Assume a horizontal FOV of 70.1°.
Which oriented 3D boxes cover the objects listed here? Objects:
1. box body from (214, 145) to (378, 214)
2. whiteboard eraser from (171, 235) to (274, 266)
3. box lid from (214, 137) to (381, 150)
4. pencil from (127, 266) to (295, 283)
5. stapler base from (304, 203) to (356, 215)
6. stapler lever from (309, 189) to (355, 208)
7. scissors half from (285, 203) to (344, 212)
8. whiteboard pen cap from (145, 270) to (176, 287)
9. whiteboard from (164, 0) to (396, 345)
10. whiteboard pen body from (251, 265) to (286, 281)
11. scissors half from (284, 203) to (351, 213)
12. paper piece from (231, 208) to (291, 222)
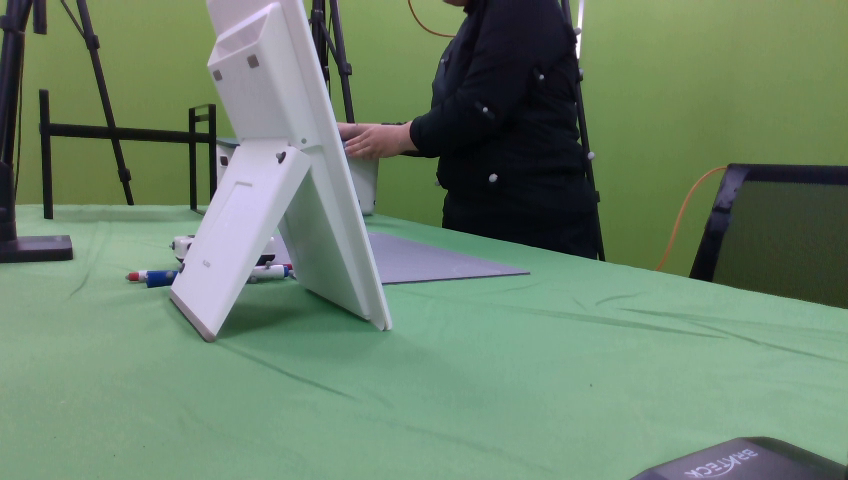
[{"bbox_3d":[-0.328,-0.154,1.543,0.366,0.160,0.253,-2,9,-32],"label":"box body"},{"bbox_3d":[-0.248,0.014,0.747,0.113,0.042,0.055,-1,9,-32],"label":"whiteboard eraser"},{"bbox_3d":[-0.321,-0.241,1.518,0.373,0.015,0.262,-4,13,-28],"label":"box lid"},{"bbox_3d":[-0.231,0.037,0.691,0.195,0.012,0.012,-2,9,-34],"label":"pencil"},{"bbox_3d":[-0.234,-0.081,1.511,0.131,0.024,0.041,5,16,-35],"label":"stapler base"},{"bbox_3d":[-0.228,-0.104,1.507,0.119,0.040,0.026,3,17,-35],"label":"stapler lever"},{"bbox_3d":[-0.280,-0.081,1.552,0.040,0.013,0.176,1,9,45],"label":"scissors half"},{"bbox_3d":[-0.271,0.039,0.627,0.033,0.018,0.018,-3,10,-33],"label":"whiteboard pen cap"},{"bbox_3d":[-0.173,-0.053,0.511,0.144,0.305,0.216,-23,19,-26],"label":"whiteboard"},{"bbox_3d":[-0.220,0.039,0.656,0.141,0.017,0.017,-2,9,-30],"label":"whiteboard pen body"},{"bbox_3d":[-0.268,-0.079,1.535,0.176,0.013,0.040,-7,12,-23],"label":"scissors half"},{"bbox_3d":[-0.395,-0.061,1.461,0.139,0.008,0.135,13,-3,-22],"label":"paper piece"}]
